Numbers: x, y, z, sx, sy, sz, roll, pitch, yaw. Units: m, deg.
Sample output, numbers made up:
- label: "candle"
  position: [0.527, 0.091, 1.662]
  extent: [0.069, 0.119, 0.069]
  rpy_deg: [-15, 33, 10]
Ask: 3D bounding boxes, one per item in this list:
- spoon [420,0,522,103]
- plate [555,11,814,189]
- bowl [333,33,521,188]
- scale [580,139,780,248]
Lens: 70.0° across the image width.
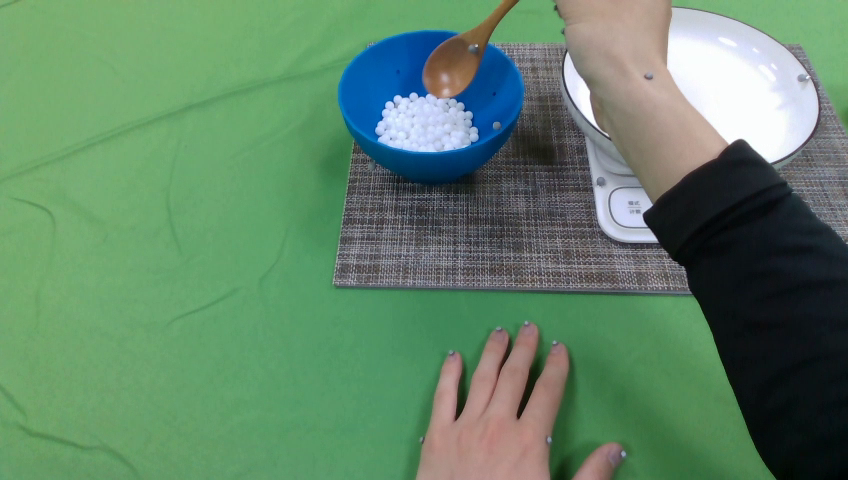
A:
- label: "spoon"
  position: [0.057, -0.164, 0.439]
  extent: [0.021, 0.194, 0.041]
  rpy_deg: [-30, 85, -42]
- label: "plate"
  position: [0.214, -0.119, 0.515]
  extent: [0.209, 0.038, 0.207]
  rpy_deg: [0, 54, 0]
- label: "bowl"
  position: [0.003, -0.097, 0.515]
  extent: [0.151, 0.077, 0.150]
  rpy_deg: [0, 54, 1]
- label: "scale"
  position: [0.213, -0.081, 0.528]
  extent: [0.148, 0.032, 0.199]
  rpy_deg: [1, 55, 2]
